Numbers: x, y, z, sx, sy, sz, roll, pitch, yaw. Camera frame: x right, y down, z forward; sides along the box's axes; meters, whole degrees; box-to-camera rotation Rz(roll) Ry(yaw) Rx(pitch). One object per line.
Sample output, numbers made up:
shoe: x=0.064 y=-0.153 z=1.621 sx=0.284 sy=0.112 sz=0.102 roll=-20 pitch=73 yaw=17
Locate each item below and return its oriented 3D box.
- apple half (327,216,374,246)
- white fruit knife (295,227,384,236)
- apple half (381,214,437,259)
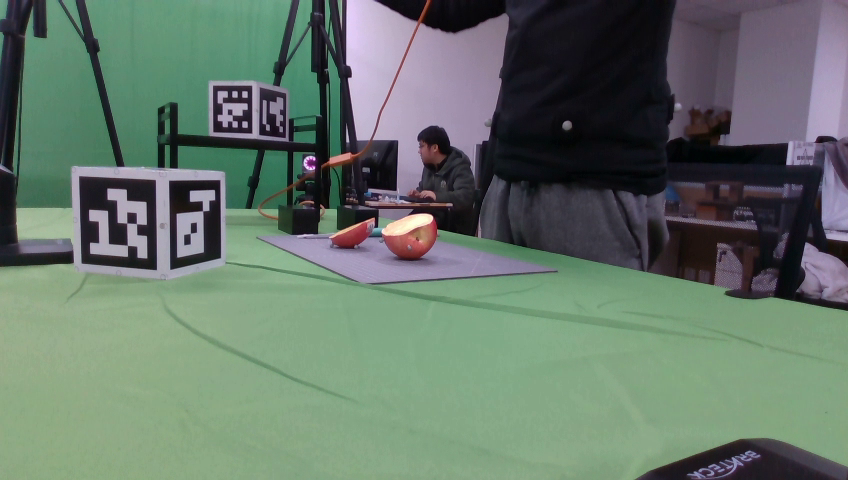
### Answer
apple half: x=-0.112 y=-0.010 z=0.969 sx=0.081 sy=0.033 sz=0.081 roll=-22 pitch=7 yaw=3
white fruit knife: x=-0.134 y=-0.014 z=1.104 sx=0.208 sy=0.016 sz=0.027 roll=-3 pitch=-4 yaw=-30
apple half: x=-0.020 y=-0.001 z=0.884 sx=0.081 sy=0.053 sz=0.074 roll=-25 pitch=22 yaw=-23
